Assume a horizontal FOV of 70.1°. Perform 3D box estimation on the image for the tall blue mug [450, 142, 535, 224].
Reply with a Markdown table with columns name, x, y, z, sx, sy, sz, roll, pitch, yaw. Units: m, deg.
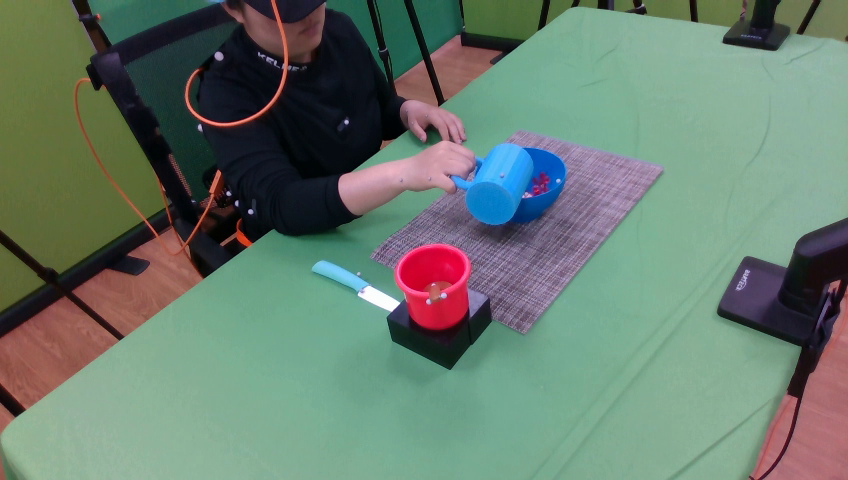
| name | x | y | z | sx | sy | sz | roll | pitch | yaw |
| --- | --- | --- | --- | --- | --- | --- | --- | --- | --- |
| tall blue mug | 0.102 | -0.094 | 0.889 | 0.107 | 0.077 | 0.108 | 39 | 44 | -8 |

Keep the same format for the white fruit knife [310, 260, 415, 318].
| name | x | y | z | sx | sy | sz | roll | pitch | yaw |
| --- | --- | --- | --- | --- | --- | --- | --- | --- | --- |
| white fruit knife | -0.094 | 0.074 | 0.920 | 0.206 | 0.016 | 0.027 | 24 | 77 | 30 |

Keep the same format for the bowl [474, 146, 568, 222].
| name | x | y | z | sx | sy | sz | roll | pitch | yaw |
| --- | --- | --- | --- | --- | --- | --- | --- | --- | --- |
| bowl | 0.161 | -0.083 | 1.001 | 0.151 | 0.077 | 0.150 | -5 | 40 | 5 |

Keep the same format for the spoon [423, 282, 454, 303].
| name | x | y | z | sx | sy | sz | roll | pitch | yaw |
| --- | --- | --- | --- | --- | --- | --- | --- | --- | --- |
| spoon | 0.015 | 0.062 | 0.733 | 0.041 | 0.021 | 0.194 | -5 | -4 | 3 |
